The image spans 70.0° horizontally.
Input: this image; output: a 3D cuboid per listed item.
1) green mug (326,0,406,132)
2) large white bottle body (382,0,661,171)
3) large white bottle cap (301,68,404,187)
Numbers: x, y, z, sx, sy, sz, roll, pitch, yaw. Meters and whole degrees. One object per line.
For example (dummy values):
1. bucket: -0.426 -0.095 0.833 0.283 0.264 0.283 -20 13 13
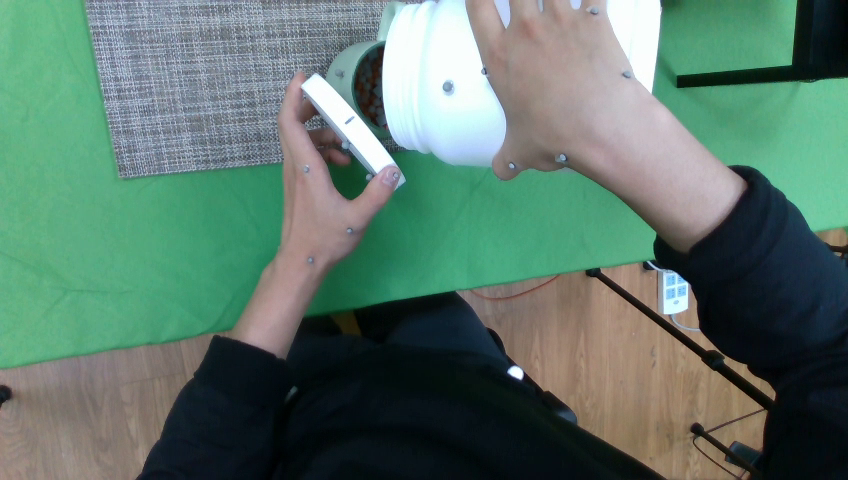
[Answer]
1. green mug: -0.037 -0.163 0.566 0.093 0.104 0.125 9 99 -21
2. large white bottle body: 0.072 -0.122 0.455 0.184 0.130 0.131 7 102 16
3. large white bottle cap: -0.059 -0.093 0.508 0.018 0.114 0.116 -41 112 -2
